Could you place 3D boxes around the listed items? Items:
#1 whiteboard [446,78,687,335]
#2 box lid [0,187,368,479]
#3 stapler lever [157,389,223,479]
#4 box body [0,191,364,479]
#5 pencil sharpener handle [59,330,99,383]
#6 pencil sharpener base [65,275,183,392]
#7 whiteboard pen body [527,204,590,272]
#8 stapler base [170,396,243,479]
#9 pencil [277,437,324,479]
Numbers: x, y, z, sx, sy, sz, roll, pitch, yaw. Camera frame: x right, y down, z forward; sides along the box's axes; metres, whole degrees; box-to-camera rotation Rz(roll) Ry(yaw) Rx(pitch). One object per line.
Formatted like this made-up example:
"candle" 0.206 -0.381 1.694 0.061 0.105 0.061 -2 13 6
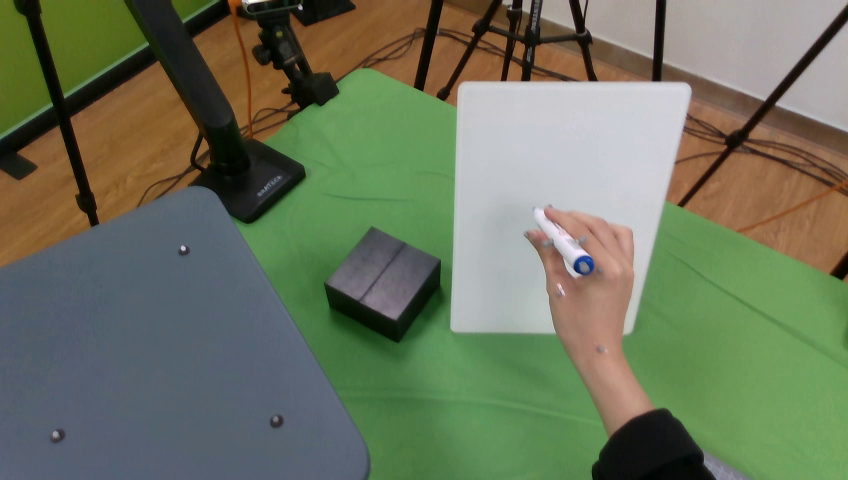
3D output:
"whiteboard" 0.136 -0.054 0.693 0.217 0.308 0.142 1 33 1
"box lid" -0.243 0.113 0.517 0.263 0.015 0.367 -28 59 -20
"stapler lever" -0.233 0.202 0.589 0.026 0.040 0.117 0 52 24
"box body" -0.242 0.159 0.575 0.254 0.162 0.360 -28 58 -20
"pencil sharpener handle" -0.356 0.122 0.614 0.030 0.068 0.035 -35 60 -23
"pencil sharpener base" -0.317 0.103 0.644 0.076 0.108 0.061 -35 59 -23
"whiteboard pen body" 0.106 -0.007 0.500 0.017 0.017 0.139 -6 22 -5
"stapler base" -0.226 0.215 0.608 0.041 0.025 0.129 0 54 24
"pencil" -0.167 0.261 0.584 0.012 0.012 0.194 32 48 22
